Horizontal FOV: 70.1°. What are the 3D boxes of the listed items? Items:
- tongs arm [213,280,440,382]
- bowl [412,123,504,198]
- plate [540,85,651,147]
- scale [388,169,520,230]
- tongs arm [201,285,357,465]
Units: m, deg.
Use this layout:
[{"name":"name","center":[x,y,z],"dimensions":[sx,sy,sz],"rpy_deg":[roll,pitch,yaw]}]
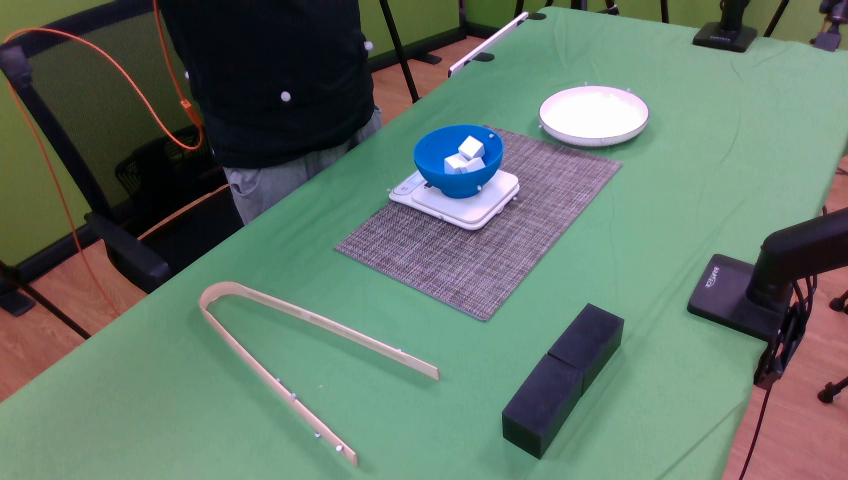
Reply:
[{"name":"tongs arm","center":[-0.147,0.121,0.846],"dimensions":[0.385,0.028,0.028],"rpy_deg":[17,48,26]},{"name":"bowl","center":[0.059,-0.123,1.007],"dimensions":[0.151,0.077,0.150],"rpy_deg":[-5,41,5]},{"name":"plate","center":[0.333,-0.238,1.186],"dimensions":[0.207,0.039,0.206],"rpy_deg":[-4,41,4]},{"name":"scale","center":[0.050,-0.090,1.051],"dimensions":[0.199,0.032,0.149],"rpy_deg":[24,49,31]},{"name":"tongs arm","center":[-0.198,0.162,0.798],"dimensions":[0.381,0.026,0.051],"rpy_deg":[28,50,35]}]
